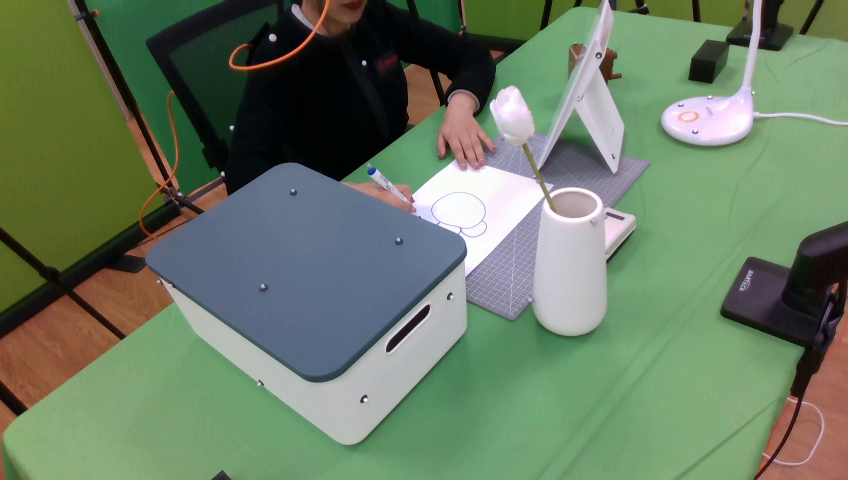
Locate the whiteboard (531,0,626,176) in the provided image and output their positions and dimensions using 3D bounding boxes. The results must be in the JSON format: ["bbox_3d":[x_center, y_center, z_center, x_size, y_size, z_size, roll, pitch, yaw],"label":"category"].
[{"bbox_3d":[0.320,-0.259,1.050,0.144,0.306,0.217,22,45,6],"label":"whiteboard"}]

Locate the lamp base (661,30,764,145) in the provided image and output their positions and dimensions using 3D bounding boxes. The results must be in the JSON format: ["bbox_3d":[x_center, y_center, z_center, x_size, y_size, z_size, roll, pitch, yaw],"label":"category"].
[{"bbox_3d":[0.535,-0.287,1.096,0.179,0.181,0.159,-10,40,-4],"label":"lamp base"}]

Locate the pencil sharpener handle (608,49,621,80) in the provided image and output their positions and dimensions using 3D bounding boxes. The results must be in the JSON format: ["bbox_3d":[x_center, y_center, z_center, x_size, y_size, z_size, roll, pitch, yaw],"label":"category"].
[{"bbox_3d":[0.394,-0.367,1.253,0.030,0.068,0.036,-9,32,1],"label":"pencil sharpener handle"}]

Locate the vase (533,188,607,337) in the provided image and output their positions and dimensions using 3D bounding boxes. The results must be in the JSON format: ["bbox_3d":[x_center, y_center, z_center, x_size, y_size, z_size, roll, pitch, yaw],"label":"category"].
[{"bbox_3d":[0.187,0.033,0.771,0.098,0.201,0.097,-6,41,6],"label":"vase"}]

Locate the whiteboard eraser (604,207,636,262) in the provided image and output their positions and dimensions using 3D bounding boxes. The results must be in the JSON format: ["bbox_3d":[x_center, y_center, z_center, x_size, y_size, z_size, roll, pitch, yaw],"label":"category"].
[{"bbox_3d":[0.272,-0.003,0.919,0.055,0.042,0.113,27,51,32],"label":"whiteboard eraser"}]

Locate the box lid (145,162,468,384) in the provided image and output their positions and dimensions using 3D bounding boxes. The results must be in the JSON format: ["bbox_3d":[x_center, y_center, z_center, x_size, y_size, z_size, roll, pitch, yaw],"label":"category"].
[{"bbox_3d":[-0.157,0.014,0.769,0.368,0.015,0.264,25,51,33],"label":"box lid"}]

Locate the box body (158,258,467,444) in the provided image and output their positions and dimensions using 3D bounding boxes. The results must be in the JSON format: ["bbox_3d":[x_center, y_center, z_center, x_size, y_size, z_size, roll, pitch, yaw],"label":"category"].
[{"bbox_3d":[-0.147,0.072,0.816,0.361,0.161,0.255,24,50,33],"label":"box body"}]

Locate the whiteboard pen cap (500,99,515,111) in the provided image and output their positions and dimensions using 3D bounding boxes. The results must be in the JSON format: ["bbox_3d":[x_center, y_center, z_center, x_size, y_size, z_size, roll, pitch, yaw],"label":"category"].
[{"bbox_3d":[0.177,-0.287,1.290,0.033,0.018,0.018,-37,47,-26],"label":"whiteboard pen cap"}]

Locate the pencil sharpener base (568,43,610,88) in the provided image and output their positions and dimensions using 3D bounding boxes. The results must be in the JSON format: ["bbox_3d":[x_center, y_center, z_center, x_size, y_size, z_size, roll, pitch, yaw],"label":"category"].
[{"bbox_3d":[0.345,-0.352,1.263,0.077,0.107,0.061,-9,40,1],"label":"pencil sharpener base"}]

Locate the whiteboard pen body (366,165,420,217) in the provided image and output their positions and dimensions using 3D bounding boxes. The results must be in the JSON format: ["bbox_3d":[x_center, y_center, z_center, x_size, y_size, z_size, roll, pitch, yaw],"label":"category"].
[{"bbox_3d":[-0.047,-0.077,0.995,0.017,0.142,0.017,-23,46,26],"label":"whiteboard pen body"}]

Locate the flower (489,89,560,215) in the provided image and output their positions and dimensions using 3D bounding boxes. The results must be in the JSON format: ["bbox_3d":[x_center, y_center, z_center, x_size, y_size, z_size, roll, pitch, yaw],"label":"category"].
[{"bbox_3d":[0.159,-0.028,0.720,0.038,0.364,0.044,-14,44,23],"label":"flower"}]
